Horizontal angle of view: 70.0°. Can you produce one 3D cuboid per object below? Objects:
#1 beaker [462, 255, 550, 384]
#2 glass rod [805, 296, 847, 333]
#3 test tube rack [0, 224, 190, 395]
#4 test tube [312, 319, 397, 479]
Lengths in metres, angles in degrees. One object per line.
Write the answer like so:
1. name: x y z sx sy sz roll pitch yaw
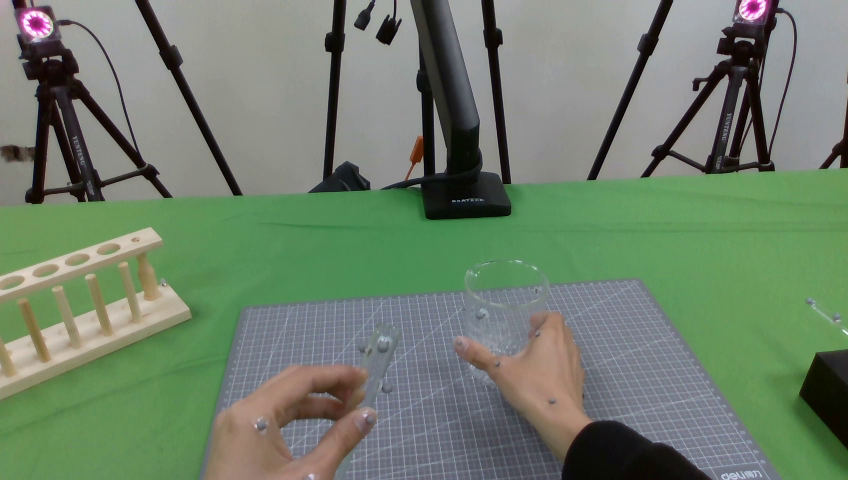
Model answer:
1. beaker: 0.069 0.073 0.554 0.074 0.101 0.083 -28 40 -37
2. glass rod: 0.392 0.104 0.497 0.008 0.008 0.197 -9 32 -13
3. test tube rack: -0.362 0.072 0.578 0.243 0.086 0.066 -24 40 -33
4. test tube: -0.047 0.113 0.364 0.017 0.151 0.017 19 20 -7
